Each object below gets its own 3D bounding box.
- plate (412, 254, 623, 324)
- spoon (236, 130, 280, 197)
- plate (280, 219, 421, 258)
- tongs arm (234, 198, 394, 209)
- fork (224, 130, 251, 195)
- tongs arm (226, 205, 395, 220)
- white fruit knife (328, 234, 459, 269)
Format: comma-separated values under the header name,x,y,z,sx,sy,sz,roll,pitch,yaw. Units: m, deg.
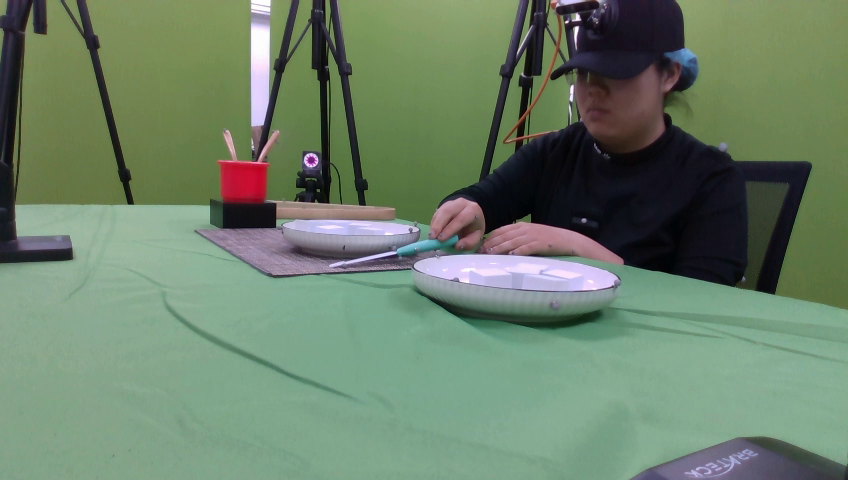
name,x,y,z,sx,sy,sz,roll,pitch,yaw
plate,0.090,0.047,0.609,0.209,0.038,0.209,2,7,0
spoon,-0.321,-0.153,1.192,0.041,0.193,0.022,0,-37,19
plate,-0.108,-0.002,0.902,0.208,0.039,0.207,3,7,0
tongs arm,-0.263,-0.076,1.460,0.386,0.026,0.050,3,8,-8
fork,-0.372,-0.155,1.193,0.028,0.018,0.206,-17,54,-13
tongs arm,-0.247,-0.062,1.382,0.389,0.028,0.028,0,5,-21
white fruit knife,-0.034,0.016,0.804,0.208,0.016,0.027,-13,8,-33
